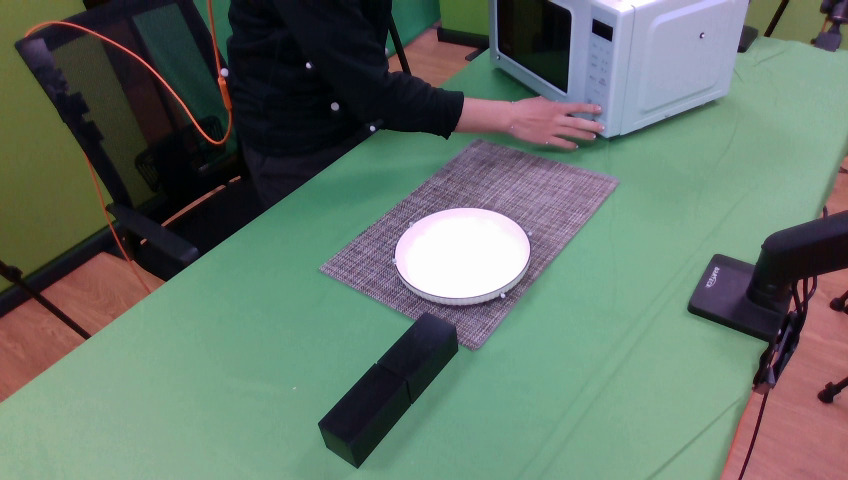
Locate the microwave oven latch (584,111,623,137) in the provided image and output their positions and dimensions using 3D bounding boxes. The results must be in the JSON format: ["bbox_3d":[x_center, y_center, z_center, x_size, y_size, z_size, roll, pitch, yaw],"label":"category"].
[{"bbox_3d":[0.337,-0.222,1.142,0.030,0.029,0.078,-21,42,-14],"label":"microwave oven latch"}]

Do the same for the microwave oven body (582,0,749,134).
[{"bbox_3d":[0.382,-0.445,1.246,0.327,0.261,0.437,-22,42,-16],"label":"microwave oven body"}]

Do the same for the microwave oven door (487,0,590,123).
[{"bbox_3d":[0.232,-0.420,1.231,0.039,0.245,0.352,-22,43,-16],"label":"microwave oven door"}]

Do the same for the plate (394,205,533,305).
[{"bbox_3d":[0.059,0.025,0.915,0.207,0.039,0.206,-4,41,4],"label":"plate"}]
